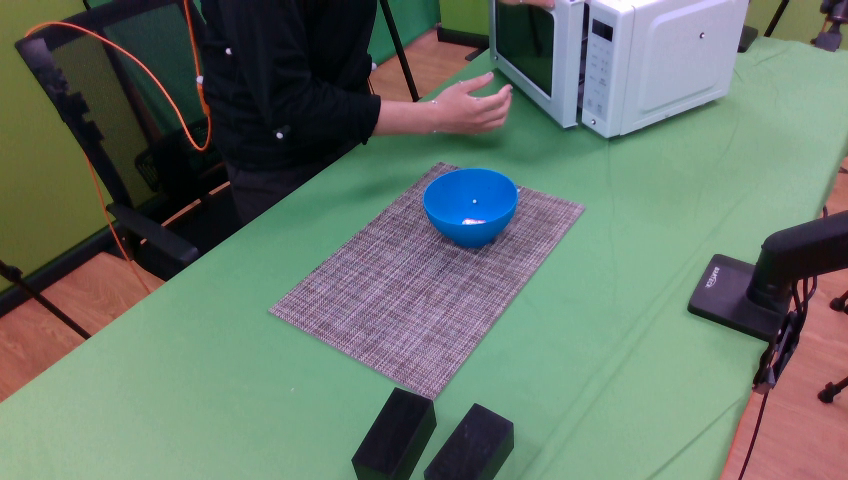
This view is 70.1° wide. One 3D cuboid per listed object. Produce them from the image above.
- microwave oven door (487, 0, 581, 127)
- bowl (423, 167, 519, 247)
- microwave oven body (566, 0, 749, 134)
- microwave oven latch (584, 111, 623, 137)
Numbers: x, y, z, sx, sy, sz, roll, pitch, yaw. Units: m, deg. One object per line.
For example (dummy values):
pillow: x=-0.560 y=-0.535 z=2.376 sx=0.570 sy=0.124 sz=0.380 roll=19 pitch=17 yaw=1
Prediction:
microwave oven door: x=0.216 y=-0.415 z=1.227 sx=0.039 sy=0.245 sz=0.353 roll=-18 pitch=42 yaw=-11
bowl: x=0.075 y=-0.041 z=0.958 sx=0.151 sy=0.077 sz=0.150 roll=-4 pitch=40 yaw=4
microwave oven body: x=0.382 y=-0.445 z=1.246 sx=0.327 sy=0.261 sz=0.437 roll=-22 pitch=42 yaw=-16
microwave oven latch: x=0.337 y=-0.222 z=1.142 sx=0.030 sy=0.029 sz=0.078 roll=-21 pitch=42 yaw=-14
